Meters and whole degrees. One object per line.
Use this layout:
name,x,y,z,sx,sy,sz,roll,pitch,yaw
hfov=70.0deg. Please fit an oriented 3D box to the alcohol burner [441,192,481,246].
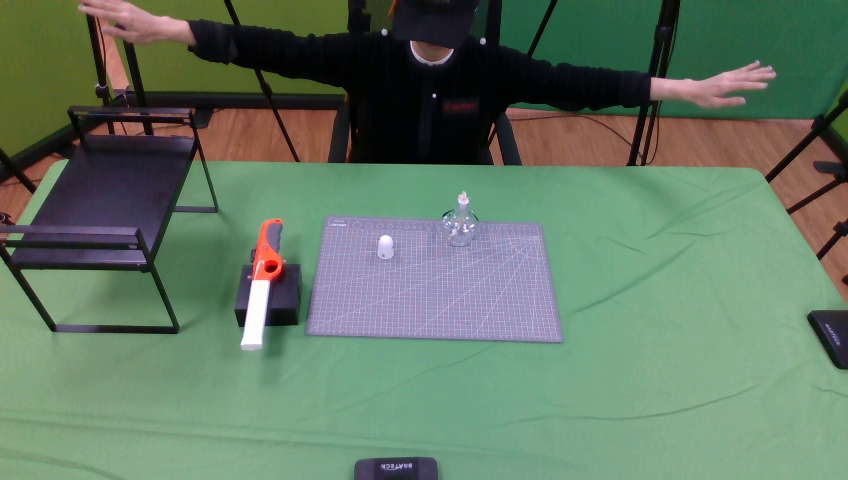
alcohol burner,0.073,-0.046,1.176,0.078,0.119,0.077,2,44,-2

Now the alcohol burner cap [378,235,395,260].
alcohol burner cap,-0.073,0.012,1.160,0.034,0.048,0.033,1,46,0

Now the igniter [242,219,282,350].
igniter,-0.277,0.065,1.044,0.057,0.025,0.274,1,48,-6
